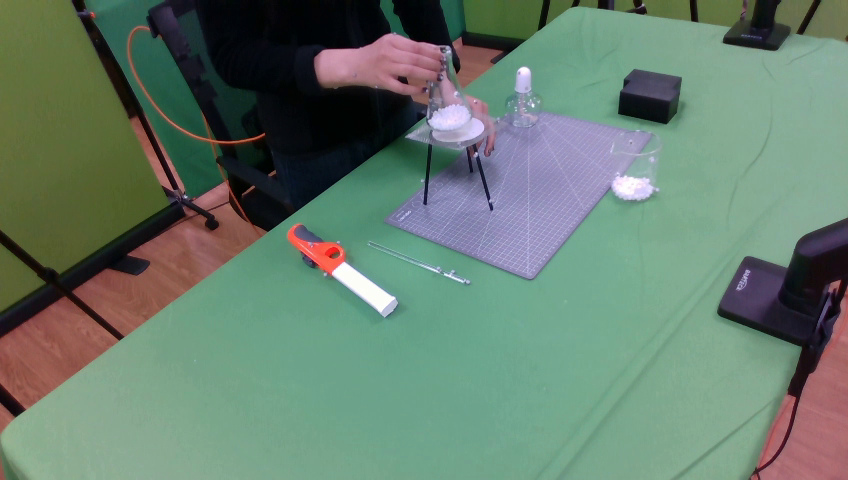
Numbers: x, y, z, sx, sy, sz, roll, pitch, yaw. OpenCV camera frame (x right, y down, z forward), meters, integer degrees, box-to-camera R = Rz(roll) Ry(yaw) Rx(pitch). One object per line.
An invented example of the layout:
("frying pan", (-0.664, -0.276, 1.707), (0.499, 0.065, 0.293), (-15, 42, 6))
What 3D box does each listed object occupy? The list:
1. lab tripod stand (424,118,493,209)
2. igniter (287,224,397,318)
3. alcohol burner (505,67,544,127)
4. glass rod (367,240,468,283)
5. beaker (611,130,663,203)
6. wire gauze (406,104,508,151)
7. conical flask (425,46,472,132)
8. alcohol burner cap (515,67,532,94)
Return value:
("lab tripod stand", (0.060, -0.133, 1.039), (0.148, 0.132, 0.147), (-6, 38, 6))
("igniter", (-0.139, 0.042, 0.958), (0.057, 0.025, 0.274), (-42, 49, -19))
("alcohol burner", (0.201, -0.288, 1.211), (0.078, 0.119, 0.077), (-6, 38, 5))
("glass rod", (-0.014, 0.032, 0.959), (0.198, 0.008, 0.008), (21, 49, 30))
("beaker", (0.346, -0.118, 0.998), (0.084, 0.101, 0.073), (-17, 40, -7))
("wire gauze", (0.054, -0.184, 0.996), (0.120, 0.011, 0.125), (26, 50, 37))
("conical flask", (0.031, -0.234, 0.930), (0.075, 0.122, 0.075), (-7, 40, 7))
("alcohol burner cap", (0.197, -0.315, 1.187), (0.034, 0.048, 0.033), (-3, 46, 3))
